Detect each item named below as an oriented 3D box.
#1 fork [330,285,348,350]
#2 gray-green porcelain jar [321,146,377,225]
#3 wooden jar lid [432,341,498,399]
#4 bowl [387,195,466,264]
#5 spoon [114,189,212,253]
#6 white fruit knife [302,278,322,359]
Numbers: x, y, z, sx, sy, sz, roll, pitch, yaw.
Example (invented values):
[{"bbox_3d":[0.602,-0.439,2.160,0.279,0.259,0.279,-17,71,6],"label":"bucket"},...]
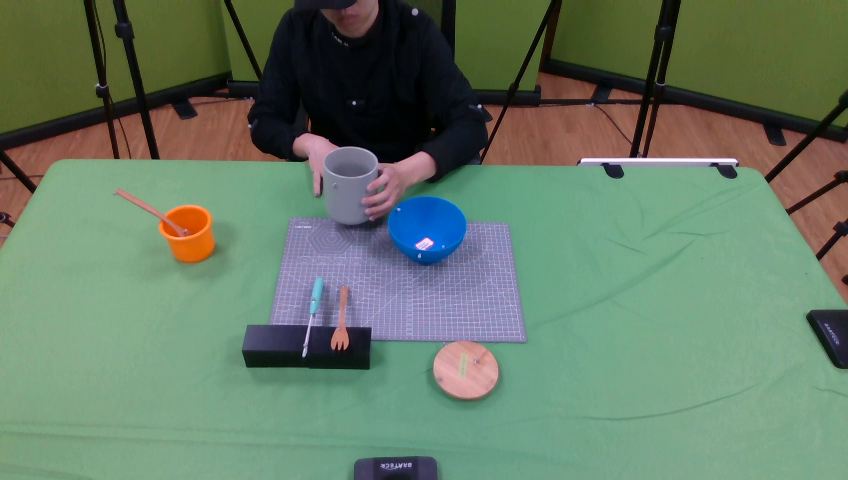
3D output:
[{"bbox_3d":[-0.140,0.127,1.021,0.028,0.019,0.206,-5,28,-2],"label":"fork"},{"bbox_3d":[-0.146,-0.102,1.182,0.106,0.127,0.105,3,42,-3],"label":"gray-green porcelain jar"},{"bbox_3d":[0.067,0.216,0.997,0.108,0.021,0.107,1,46,-1],"label":"wooden jar lid"},{"bbox_3d":[0.003,-0.007,1.162,0.151,0.077,0.150,2,46,-2],"label":"bowl"},{"bbox_3d":[-0.475,-0.037,1.109,0.021,0.195,0.041,-29,34,32],"label":"spoon"},{"bbox_3d":[-0.189,0.126,1.020,0.016,0.027,0.206,0,33,-3],"label":"white fruit knife"}]
